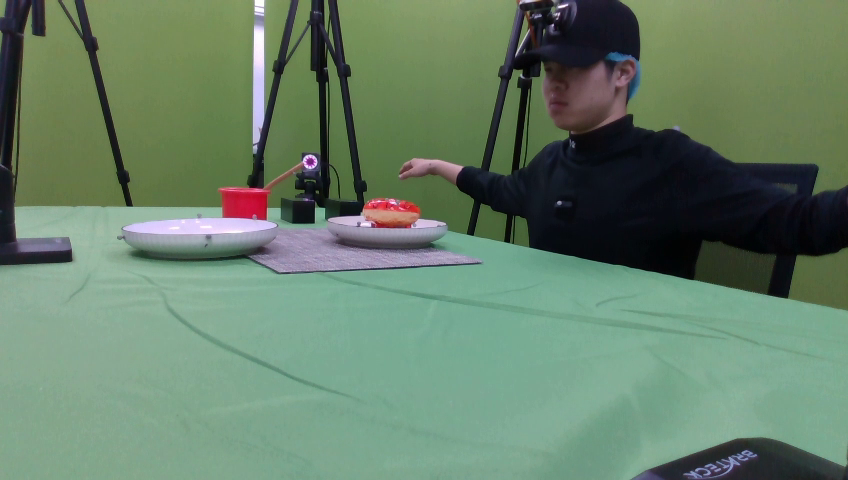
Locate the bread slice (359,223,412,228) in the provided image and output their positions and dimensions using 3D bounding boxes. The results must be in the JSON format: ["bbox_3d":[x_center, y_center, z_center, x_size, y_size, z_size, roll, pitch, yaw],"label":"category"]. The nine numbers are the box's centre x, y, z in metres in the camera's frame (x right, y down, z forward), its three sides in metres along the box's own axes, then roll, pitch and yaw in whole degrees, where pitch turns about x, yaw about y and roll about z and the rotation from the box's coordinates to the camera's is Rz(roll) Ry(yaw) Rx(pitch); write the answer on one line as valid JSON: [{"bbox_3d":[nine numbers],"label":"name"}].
[{"bbox_3d":[-0.061,-0.013,1.034,0.105,0.019,0.131,0,9,-19],"label":"bread slice"}]

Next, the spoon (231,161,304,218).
[{"bbox_3d":[-0.314,-0.096,1.192,0.194,0.022,0.041,-42,13,-5],"label":"spoon"}]

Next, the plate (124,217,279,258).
[{"bbox_3d":[-0.315,-0.004,0.871,0.208,0.039,0.207,1,8,0],"label":"plate"}]

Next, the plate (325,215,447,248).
[{"bbox_3d":[-0.065,-0.015,1.035,0.209,0.038,0.209,3,8,0],"label":"plate"}]

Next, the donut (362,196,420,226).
[{"bbox_3d":[-0.056,-0.048,1.024,0.099,0.048,0.099,4,8,0],"label":"donut"}]
